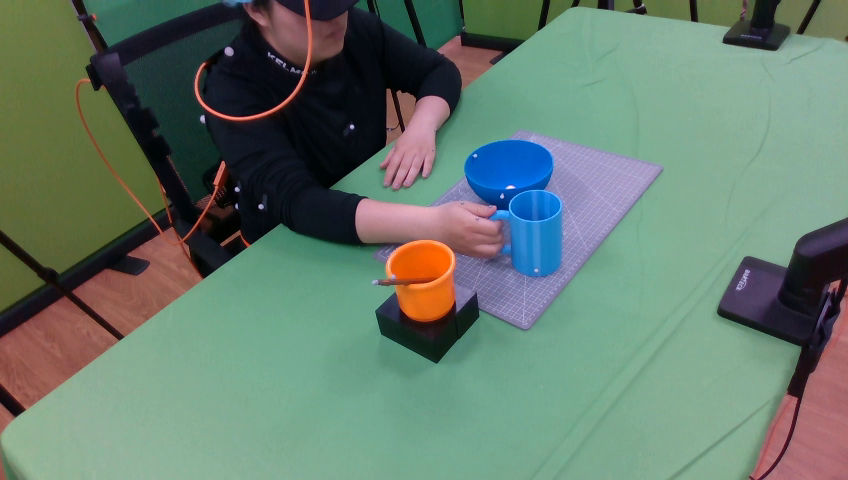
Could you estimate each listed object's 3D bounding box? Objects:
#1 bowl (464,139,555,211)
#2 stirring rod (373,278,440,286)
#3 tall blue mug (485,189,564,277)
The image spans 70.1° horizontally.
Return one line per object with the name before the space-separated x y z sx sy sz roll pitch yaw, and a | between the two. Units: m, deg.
bowl | 0.145 -0.100 1.025 0.151 0.077 0.150 -5 40 5
stirring rod | -0.018 0.052 0.757 0.014 0.006 0.177 11 2 23
tall blue mug | 0.151 -0.006 0.889 0.107 0.108 0.077 -15 41 -6
